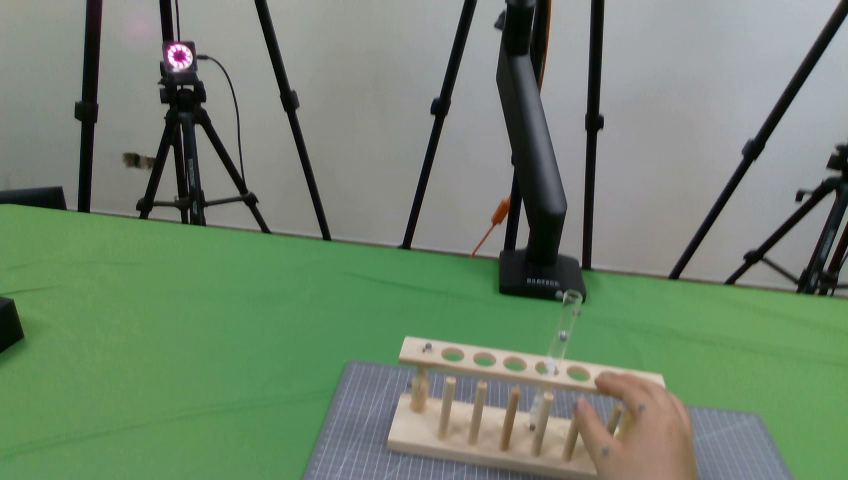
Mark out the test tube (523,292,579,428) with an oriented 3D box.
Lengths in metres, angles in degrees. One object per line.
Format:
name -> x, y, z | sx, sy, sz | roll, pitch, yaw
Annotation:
test tube -> 0.115, 0.114, 0.555 | 0.017, 0.151, 0.017 | 9, 26, -4

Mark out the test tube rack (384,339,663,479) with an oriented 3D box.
test tube rack -> 0.089, 0.163, 0.564 | 0.242, 0.086, 0.066 | 8, 27, 5
